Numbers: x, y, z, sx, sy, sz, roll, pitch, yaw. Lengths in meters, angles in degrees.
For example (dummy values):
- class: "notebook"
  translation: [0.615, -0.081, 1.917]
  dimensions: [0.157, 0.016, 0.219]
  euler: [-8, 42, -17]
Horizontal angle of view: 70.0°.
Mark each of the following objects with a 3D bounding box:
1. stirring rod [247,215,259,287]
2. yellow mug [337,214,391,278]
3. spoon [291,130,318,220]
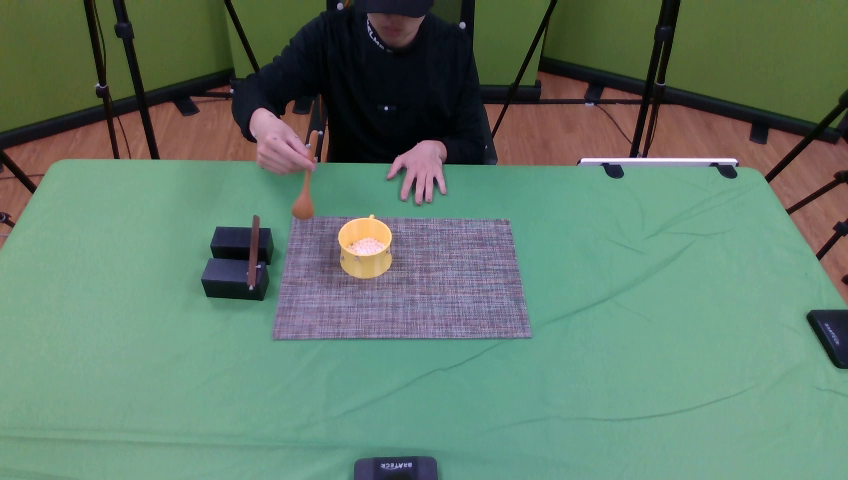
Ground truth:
- class: "stirring rod"
  translation: [-0.309, 0.016, 1.097]
  dimensions: [0.014, 0.006, 0.175]
  euler: [25, 36, -31]
- class: "yellow mug"
  translation: [-0.110, 0.003, 1.152]
  dimensions: [0.100, 0.064, 0.130]
  euler: [7, 45, 2]
- class: "spoon"
  translation: [-0.206, -0.110, 1.063]
  dimensions: [0.042, 0.194, 0.021]
  euler: [9, 35, -9]
